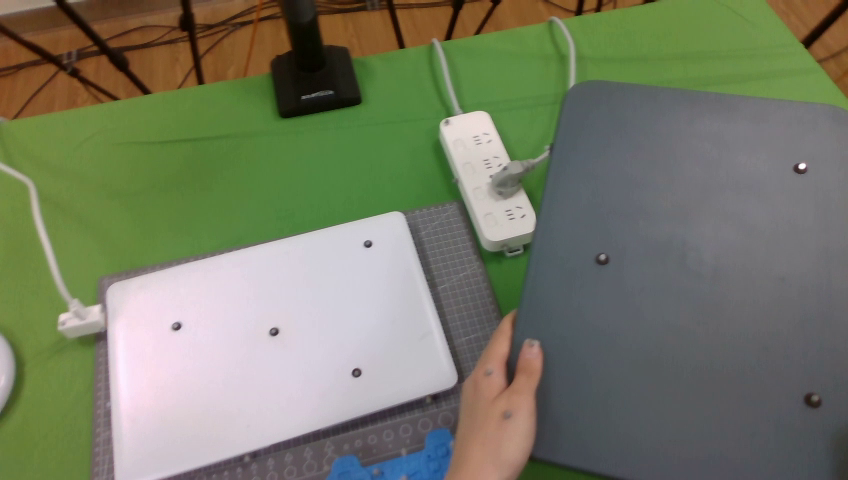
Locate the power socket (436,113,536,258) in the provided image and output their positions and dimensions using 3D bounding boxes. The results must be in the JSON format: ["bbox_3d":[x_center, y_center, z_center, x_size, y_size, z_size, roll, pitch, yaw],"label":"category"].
[{"bbox_3d":[0.077,-0.078,0.782,0.072,0.033,0.224,-14,58,-9],"label":"power socket"}]

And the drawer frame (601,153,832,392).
[{"bbox_3d":[0.327,0.028,0.673,0.201,0.083,0.212,21,57,12],"label":"drawer frame"}]

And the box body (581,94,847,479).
[{"bbox_3d":[0.321,0.052,0.620,0.253,0.162,0.362,16,59,10],"label":"box body"}]

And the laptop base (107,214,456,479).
[{"bbox_3d":[-0.165,0.108,0.676,0.355,0.023,0.233,-15,63,-9],"label":"laptop base"}]

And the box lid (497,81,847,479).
[{"bbox_3d":[0.220,0.015,0.485,0.262,0.015,0.369,10,60,13],"label":"box lid"}]

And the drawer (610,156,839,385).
[{"bbox_3d":[0.332,0.027,0.670,0.194,0.074,0.210,19,62,14],"label":"drawer"}]

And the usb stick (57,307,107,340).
[{"bbox_3d":[-0.372,0.091,0.675,0.059,0.027,0.021,-11,53,-10],"label":"usb stick"}]

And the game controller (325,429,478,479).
[{"bbox_3d":[-0.022,0.241,0.575,0.155,0.052,0.096,-13,57,-8],"label":"game controller"}]

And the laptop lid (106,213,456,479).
[{"bbox_3d":[-0.164,0.105,0.665,0.357,0.013,0.239,-14,61,-8],"label":"laptop lid"}]

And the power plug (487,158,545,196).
[{"bbox_3d":[0.114,-0.072,0.750,0.072,0.053,0.035,-4,57,-3],"label":"power plug"}]

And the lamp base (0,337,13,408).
[{"bbox_3d":[-0.537,0.118,0.580,0.179,0.182,0.159,10,58,10],"label":"lamp base"}]
